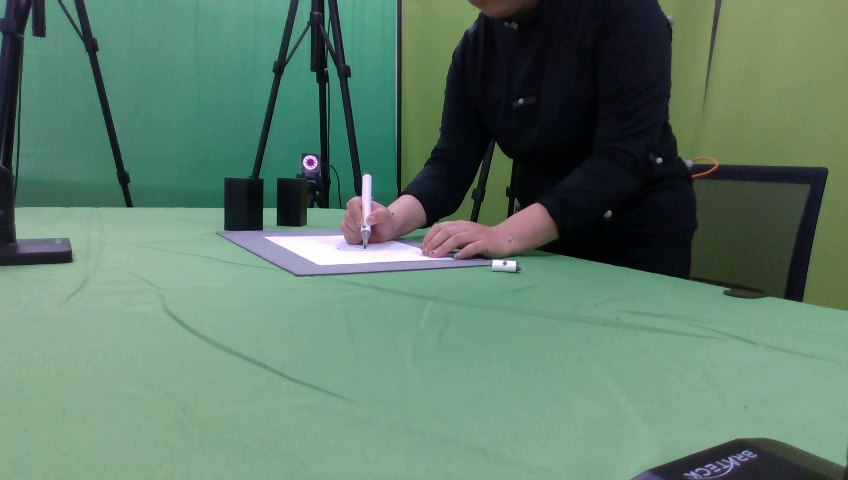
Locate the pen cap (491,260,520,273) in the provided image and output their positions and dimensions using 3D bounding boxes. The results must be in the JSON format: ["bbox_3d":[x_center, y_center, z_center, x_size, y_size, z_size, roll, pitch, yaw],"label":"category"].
[{"bbox_3d":[0.110,0.036,0.813,0.038,0.017,0.017,3,7,7],"label":"pen cap"}]

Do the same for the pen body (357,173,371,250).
[{"bbox_3d":[-0.097,-0.046,0.987,0.017,0.144,0.017,0,-30,1],"label":"pen body"}]
